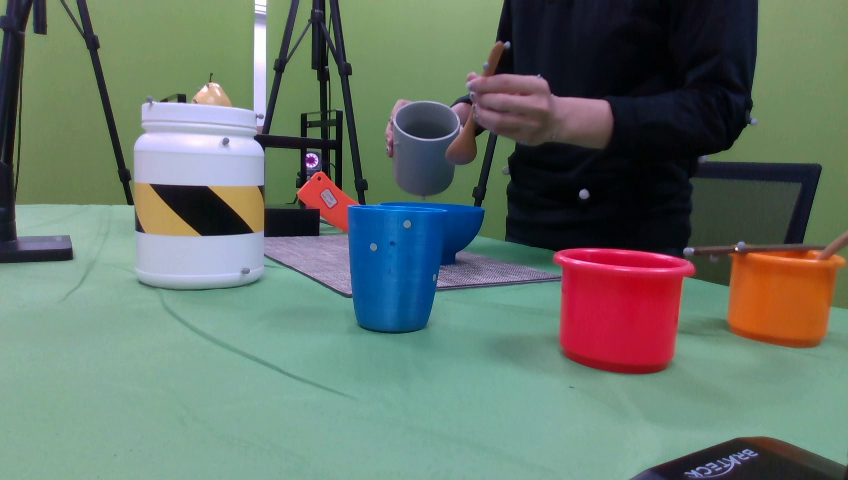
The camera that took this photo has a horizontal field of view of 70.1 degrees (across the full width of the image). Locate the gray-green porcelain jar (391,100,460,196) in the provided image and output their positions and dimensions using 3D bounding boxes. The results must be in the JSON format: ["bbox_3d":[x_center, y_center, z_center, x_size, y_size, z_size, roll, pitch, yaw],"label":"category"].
[{"bbox_3d":[0.000,-0.143,0.978,0.106,0.126,0.105,3,47,-2],"label":"gray-green porcelain jar"}]

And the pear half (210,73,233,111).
[{"bbox_3d":[-0.402,-0.262,1.162,0.076,0.109,0.056,7,7,2],"label":"pear half"}]

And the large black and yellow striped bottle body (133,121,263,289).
[{"bbox_3d":[-0.243,-0.048,0.659,0.131,0.184,0.130,2,7,0],"label":"large black and yellow striped bottle body"}]

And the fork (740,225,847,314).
[{"bbox_3d":[0.323,0.013,0.485,0.028,0.018,0.207,8,-38,-5],"label":"fork"}]

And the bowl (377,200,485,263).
[{"bbox_3d":[0.008,-0.012,0.842,0.151,0.077,0.151,3,7,0],"label":"bowl"}]

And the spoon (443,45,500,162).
[{"bbox_3d":[0.060,-0.162,0.748,0.042,0.193,0.021,9,50,-7],"label":"spoon"}]

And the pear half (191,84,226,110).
[{"bbox_3d":[-0.406,-0.248,1.128,0.070,0.088,0.031,5,7,2],"label":"pear half"}]

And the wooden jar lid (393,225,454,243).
[{"bbox_3d":[-0.001,-0.011,1.058,0.108,0.020,0.108,8,5,0],"label":"wooden jar lid"}]

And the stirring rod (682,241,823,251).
[{"bbox_3d":[0.289,0.005,0.525,0.177,0.006,0.014,-1,5,-26],"label":"stirring rod"}]

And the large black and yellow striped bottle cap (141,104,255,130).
[{"bbox_3d":[-0.241,-0.131,0.650,0.115,0.019,0.115,3,8,0],"label":"large black and yellow striped bottle cap"}]

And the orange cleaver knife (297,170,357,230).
[{"bbox_3d":[-0.149,-0.058,1.170,0.212,0.077,0.012,33,-14,-32],"label":"orange cleaver knife"}]

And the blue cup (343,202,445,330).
[{"bbox_3d":[-0.027,0.021,0.510,0.093,0.100,0.092,3,5,0],"label":"blue cup"}]
